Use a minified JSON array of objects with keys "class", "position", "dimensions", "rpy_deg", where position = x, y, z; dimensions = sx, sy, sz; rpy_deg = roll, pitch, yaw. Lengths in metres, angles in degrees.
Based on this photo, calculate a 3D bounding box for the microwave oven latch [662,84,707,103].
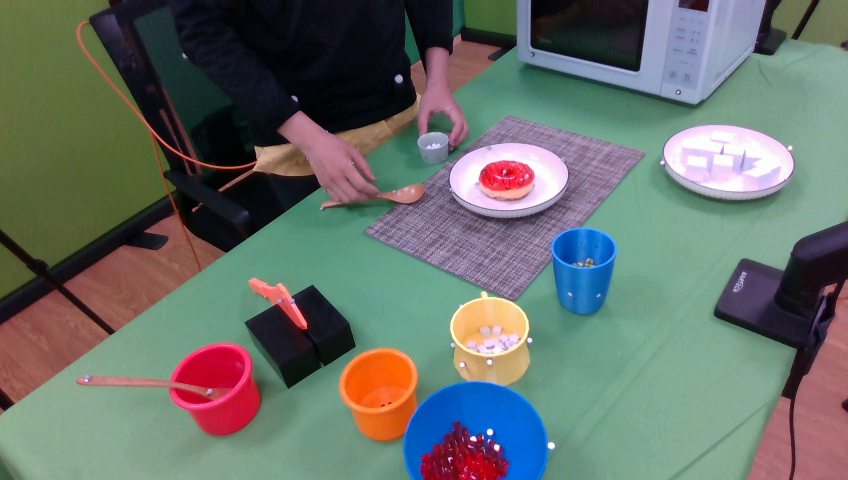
[{"class":"microwave oven latch","position":[0.517,-0.296,1.204],"dimensions":[0.078,0.029,0.030],"rpy_deg":[27,52,35]}]

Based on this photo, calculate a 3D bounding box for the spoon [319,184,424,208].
[{"class":"spoon","position":[-0.094,-0.076,1.074],"dimensions":[0.193,0.022,0.041],"rpy_deg":[-5,56,5]}]

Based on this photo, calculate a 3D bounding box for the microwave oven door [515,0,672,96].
[{"class":"microwave oven door","position":[0.344,-0.454,1.259],"dimensions":[0.353,0.245,0.039],"rpy_deg":[26,51,33]}]

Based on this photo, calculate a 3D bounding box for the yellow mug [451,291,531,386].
[{"class":"yellow mug","position":[0.085,0.120,0.786],"dimensions":[0.100,0.064,0.130],"rpy_deg":[-7,39,1]}]

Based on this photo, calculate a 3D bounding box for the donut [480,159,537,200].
[{"class":"donut","position":[0.145,-0.106,1.042],"dimensions":[0.099,0.048,0.098],"rpy_deg":[-4,38,4]}]

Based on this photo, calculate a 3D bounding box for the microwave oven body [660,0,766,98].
[{"class":"microwave oven body","position":[0.473,-0.513,1.317],"dimensions":[0.438,0.261,0.327],"rpy_deg":[26,51,34]}]

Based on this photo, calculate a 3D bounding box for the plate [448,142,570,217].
[{"class":"plate","position":[0.148,-0.101,1.053],"dimensions":[0.209,0.038,0.208],"rpy_deg":[-4,40,4]}]

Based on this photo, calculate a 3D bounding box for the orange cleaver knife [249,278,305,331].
[{"class":"orange cleaver knife","position":[-0.210,0.088,0.856],"dimensions":[0.012,0.077,0.210],"rpy_deg":[-28,15,-25]}]

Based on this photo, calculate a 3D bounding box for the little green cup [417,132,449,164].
[{"class":"little green cup","position":[0.018,-0.176,1.166],"dimensions":[0.061,0.039,0.061],"rpy_deg":[-1,41,1]}]

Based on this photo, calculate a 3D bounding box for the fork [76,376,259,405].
[{"class":"fork","position":[-0.295,0.176,0.716],"dimensions":[0.209,0.018,0.028],"rpy_deg":[19,26,-36]}]

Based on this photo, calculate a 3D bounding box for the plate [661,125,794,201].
[{"class":"plate","position":[0.513,-0.128,1.035],"dimensions":[0.207,0.039,0.206],"rpy_deg":[-4,40,4]}]

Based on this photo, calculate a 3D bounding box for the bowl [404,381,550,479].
[{"class":"bowl","position":[0.058,0.235,0.645],"dimensions":[0.151,0.077,0.150],"rpy_deg":[-4,39,4]}]

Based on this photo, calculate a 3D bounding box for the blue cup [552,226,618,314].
[{"class":"blue cup","position":[0.218,0.047,0.826],"dimensions":[0.092,0.100,0.092],"rpy_deg":[-6,40,5]}]
